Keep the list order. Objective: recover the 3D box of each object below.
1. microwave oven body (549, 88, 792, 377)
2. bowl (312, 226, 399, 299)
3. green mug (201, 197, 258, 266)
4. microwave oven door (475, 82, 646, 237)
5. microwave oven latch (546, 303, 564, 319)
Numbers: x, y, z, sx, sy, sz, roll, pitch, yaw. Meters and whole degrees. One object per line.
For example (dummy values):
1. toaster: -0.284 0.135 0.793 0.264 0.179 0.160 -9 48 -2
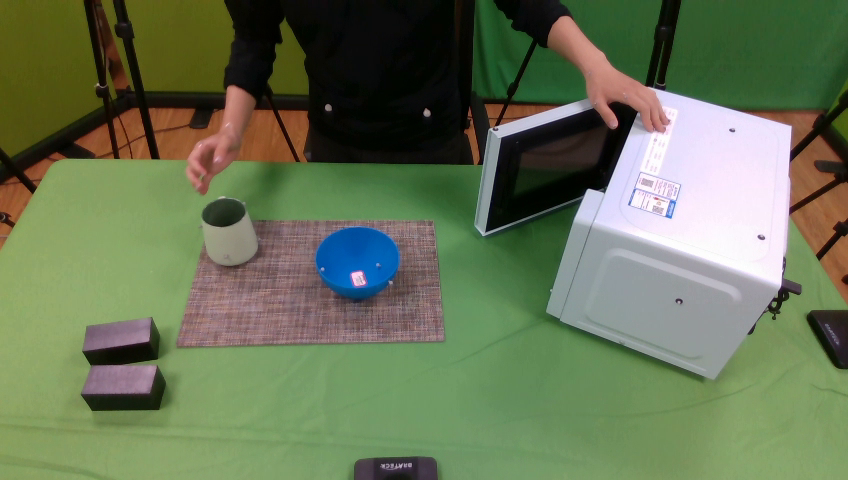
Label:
1. microwave oven body: 0.456 -0.028 1.088 0.325 0.261 0.440 20 47 16
2. bowl: -0.120 0.054 1.091 0.151 0.077 0.150 2 46 -2
3. green mug: -0.366 -0.025 1.130 0.092 0.105 0.124 -13 48 -16
4. microwave oven door: 0.269 -0.160 1.193 0.356 0.245 0.039 -21 50 -22
5. microwave oven latch: 0.242 0.102 1.081 0.030 0.029 0.079 22 48 17
